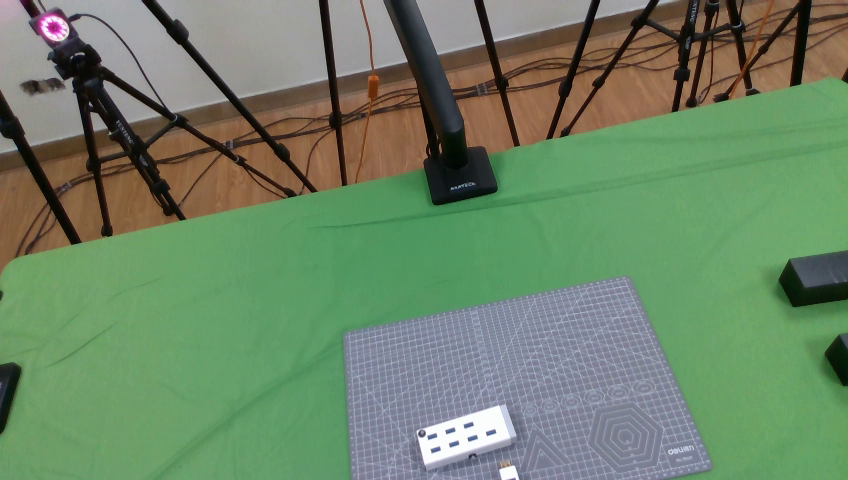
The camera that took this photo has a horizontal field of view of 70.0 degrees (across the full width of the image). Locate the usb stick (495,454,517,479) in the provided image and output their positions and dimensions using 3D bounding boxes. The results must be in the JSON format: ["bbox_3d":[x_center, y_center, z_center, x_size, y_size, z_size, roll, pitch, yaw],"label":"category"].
[{"bbox_3d":[0.104,0.295,0.757,0.021,0.027,0.058,-18,48,2],"label":"usb stick"}]

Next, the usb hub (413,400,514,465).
[{"bbox_3d":[0.051,0.252,0.800,0.125,0.025,0.049,-16,51,-3],"label":"usb hub"}]
